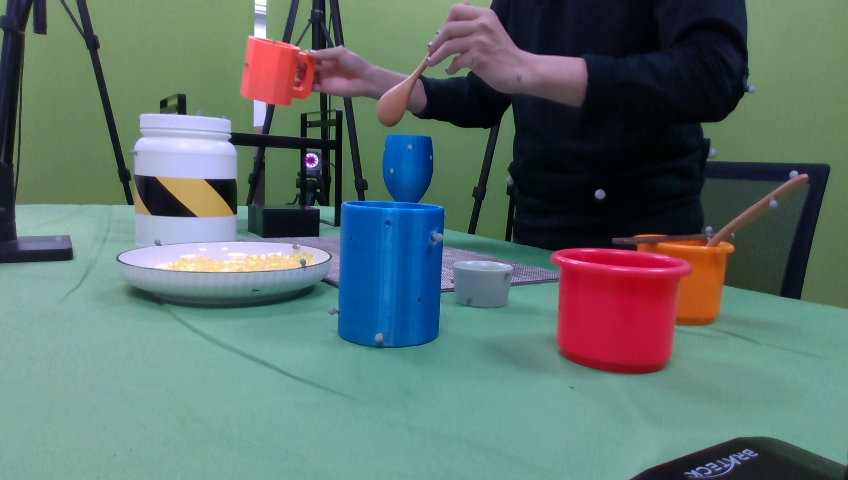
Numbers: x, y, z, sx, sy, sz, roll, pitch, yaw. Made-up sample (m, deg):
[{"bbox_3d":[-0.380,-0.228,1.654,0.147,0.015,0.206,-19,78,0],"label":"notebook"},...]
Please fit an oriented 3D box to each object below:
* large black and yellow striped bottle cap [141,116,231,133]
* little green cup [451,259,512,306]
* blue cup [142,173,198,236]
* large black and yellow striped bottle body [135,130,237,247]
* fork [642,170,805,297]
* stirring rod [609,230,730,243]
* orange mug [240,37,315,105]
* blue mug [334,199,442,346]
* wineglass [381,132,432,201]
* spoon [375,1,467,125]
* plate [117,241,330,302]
[{"bbox_3d":[-0.324,-0.157,0.826,0.115,0.019,0.115,1,7,0],"label":"large black and yellow striped bottle cap"},{"bbox_3d":[0.057,0.043,0.612,0.061,0.038,0.061,3,7,0],"label":"little green cup"},{"bbox_3d":[-0.425,-0.060,1.014,0.093,0.100,0.092,4,9,0],"label":"blue cup"},{"bbox_3d":[-0.327,-0.074,0.838,0.131,0.184,0.130,2,7,0],"label":"large black and yellow striped bottle body"},{"bbox_3d":[0.261,0.004,0.545,0.028,0.018,0.207,5,-37,-15],"label":"fork"},{"bbox_3d":[0.241,-0.004,0.582,0.177,0.006,0.014,-4,10,-33],"label":"stirring rod"},{"bbox_3d":[-0.250,-0.290,1.046,0.127,0.101,0.083,-9,29,-40],"label":"orange mug"},{"bbox_3d":[-0.034,0.020,0.498,0.083,0.106,0.116,0,7,-20],"label":"blue mug"},{"bbox_3d":[-0.026,-0.062,0.841,0.074,0.172,0.073,2,7,0],"label":"wineglass"},{"bbox_3d":[-0.004,-0.237,0.809,0.041,0.193,0.022,41,10,15],"label":"spoon"},{"bbox_3d":[-0.203,0.031,0.630,0.209,0.038,0.209,3,7,0],"label":"plate"}]
